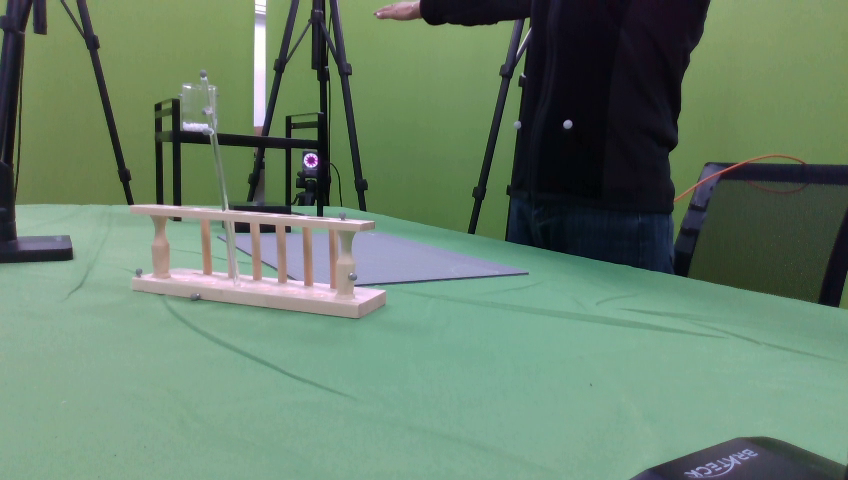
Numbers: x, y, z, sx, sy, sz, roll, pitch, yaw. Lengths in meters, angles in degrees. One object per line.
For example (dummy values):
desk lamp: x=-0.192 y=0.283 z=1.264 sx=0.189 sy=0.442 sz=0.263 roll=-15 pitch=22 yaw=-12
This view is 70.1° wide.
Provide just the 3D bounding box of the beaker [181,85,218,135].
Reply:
beaker: x=-0.476 y=-0.276 z=1.290 sx=0.074 sy=0.100 sz=0.083 roll=-4 pitch=10 yaw=-36

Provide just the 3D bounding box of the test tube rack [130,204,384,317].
test tube rack: x=-0.163 y=0.013 z=0.589 sx=0.242 sy=0.085 sz=0.067 roll=5 pitch=8 yaw=17

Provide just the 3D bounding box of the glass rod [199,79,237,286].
glass rod: x=-0.194 y=-0.050 z=0.569 sx=0.008 sy=0.199 sz=0.008 roll=-6 pitch=7 yaw=1
